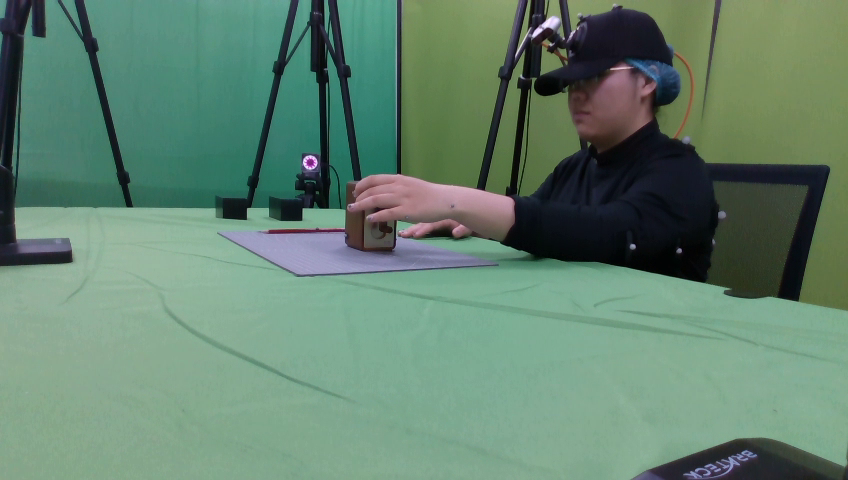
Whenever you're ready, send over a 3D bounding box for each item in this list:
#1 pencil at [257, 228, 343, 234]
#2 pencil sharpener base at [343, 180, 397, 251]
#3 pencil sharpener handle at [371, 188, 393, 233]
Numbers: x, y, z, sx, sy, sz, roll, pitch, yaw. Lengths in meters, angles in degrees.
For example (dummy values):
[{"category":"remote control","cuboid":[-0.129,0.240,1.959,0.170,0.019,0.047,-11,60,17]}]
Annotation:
[{"category":"pencil","cuboid":[-0.213,-0.017,1.131,0.195,0.012,0.012,-2,9,-26]},{"category":"pencil sharpener base","cuboid":[-0.085,-0.039,0.958,0.062,0.107,0.076,-1,9,-31]},{"category":"pencil sharpener handle","cuboid":[-0.057,-0.044,0.913,0.036,0.067,0.030,-5,10,-31]}]
